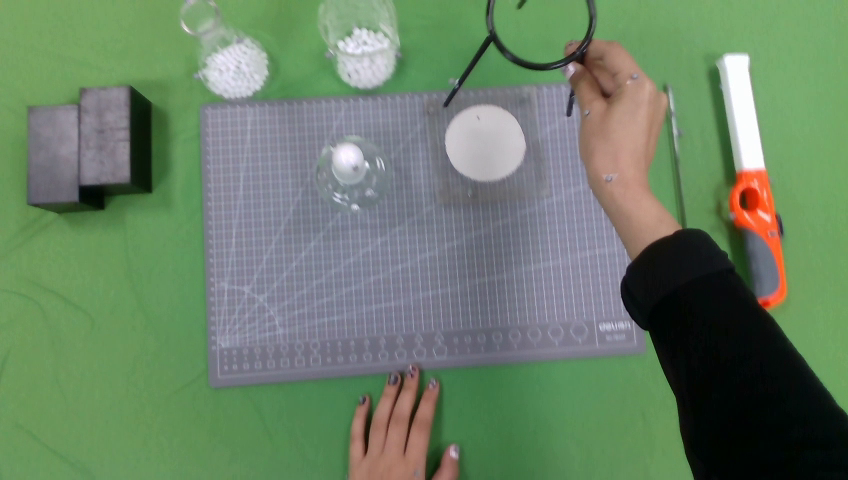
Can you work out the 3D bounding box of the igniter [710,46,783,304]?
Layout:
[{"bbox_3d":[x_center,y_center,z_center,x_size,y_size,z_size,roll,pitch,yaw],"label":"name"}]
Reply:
[{"bbox_3d":[0.342,-0.071,0.644,0.057,0.025,0.276,-6,85,-12],"label":"igniter"}]

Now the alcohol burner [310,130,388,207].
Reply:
[{"bbox_3d":[-0.074,-0.072,0.588,0.078,0.119,0.077,0,85,-2],"label":"alcohol burner"}]

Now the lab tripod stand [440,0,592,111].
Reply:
[{"bbox_3d":[0.085,-0.175,0.548,0.148,0.131,0.148,0,87,-3],"label":"lab tripod stand"}]

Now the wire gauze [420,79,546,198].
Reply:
[{"bbox_3d":[0.063,-0.108,0.648,0.125,0.011,0.121,-6,85,-4],"label":"wire gauze"}]

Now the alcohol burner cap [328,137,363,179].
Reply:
[{"bbox_3d":[-0.072,-0.077,0.552,0.034,0.048,0.034,1,84,-7],"label":"alcohol burner cap"}]

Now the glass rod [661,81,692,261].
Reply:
[{"bbox_3d":[0.271,-0.076,0.651,0.008,0.008,0.199,-5,84,-2],"label":"glass rod"}]

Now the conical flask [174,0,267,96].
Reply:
[{"bbox_3d":[-0.204,-0.196,0.595,0.075,0.122,0.075,0,84,-2],"label":"conical flask"}]

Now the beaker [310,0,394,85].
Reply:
[{"bbox_3d":[-0.066,-0.205,0.611,0.084,0.100,0.074,31,84,2],"label":"beaker"}]
